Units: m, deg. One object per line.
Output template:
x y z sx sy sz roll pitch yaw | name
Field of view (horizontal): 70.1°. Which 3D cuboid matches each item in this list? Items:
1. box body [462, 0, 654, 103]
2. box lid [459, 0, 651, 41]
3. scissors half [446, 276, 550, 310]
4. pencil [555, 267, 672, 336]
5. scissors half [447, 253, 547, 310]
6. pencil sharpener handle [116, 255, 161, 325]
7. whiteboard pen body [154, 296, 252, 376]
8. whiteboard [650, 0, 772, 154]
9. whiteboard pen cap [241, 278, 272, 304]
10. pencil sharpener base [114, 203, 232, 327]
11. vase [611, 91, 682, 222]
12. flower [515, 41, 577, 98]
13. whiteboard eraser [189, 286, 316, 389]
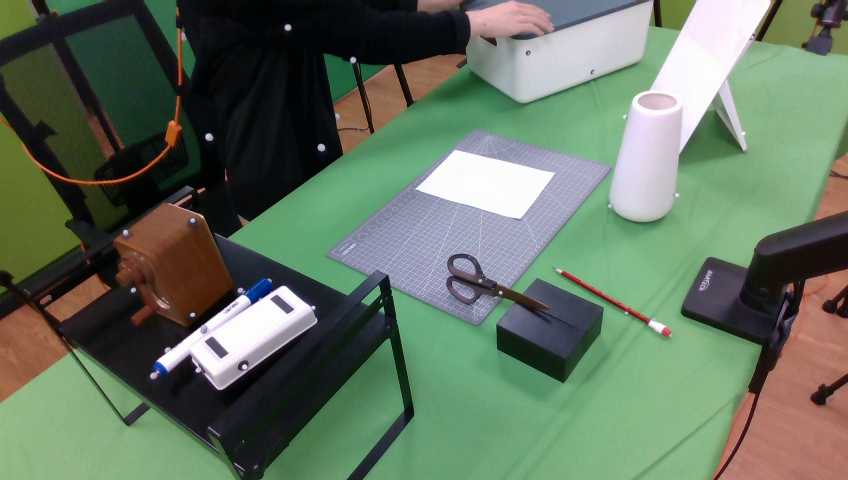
0.298 -0.468 1.374 0.365 0.161 0.252 -23 42 -18 | box body
0.291 -0.525 1.327 0.373 0.015 0.261 -23 43 -18 | box lid
0.098 0.077 0.827 0.174 0.040 0.013 6 14 44 | scissors half
0.260 0.082 0.850 0.012 0.012 0.192 -33 46 -27 | pencil
0.098 0.058 0.821 0.173 0.040 0.013 27 33 36 | scissors half
-0.286 0.050 0.594 0.035 0.068 0.031 7 41 36 | pencil sharpener handle
-0.215 0.088 0.619 0.017 0.017 0.141 19 42 28 | whiteboard pen body
0.543 -0.298 1.076 0.144 0.305 0.216 12 40 -7 | whiteboard
-0.183 0.057 0.658 0.018 0.018 0.033 19 44 28 | whiteboard pen cap
-0.262 0.029 0.635 0.061 0.107 0.077 18 47 26 | pencil sharpener base
0.348 -0.125 0.935 0.098 0.201 0.097 -3 40 3 | vase
0.298 -0.410 1.413 0.044 0.038 0.362 -16 22 41 | flower
-0.166 0.096 0.593 0.113 0.042 0.055 -36 46 -29 | whiteboard eraser
